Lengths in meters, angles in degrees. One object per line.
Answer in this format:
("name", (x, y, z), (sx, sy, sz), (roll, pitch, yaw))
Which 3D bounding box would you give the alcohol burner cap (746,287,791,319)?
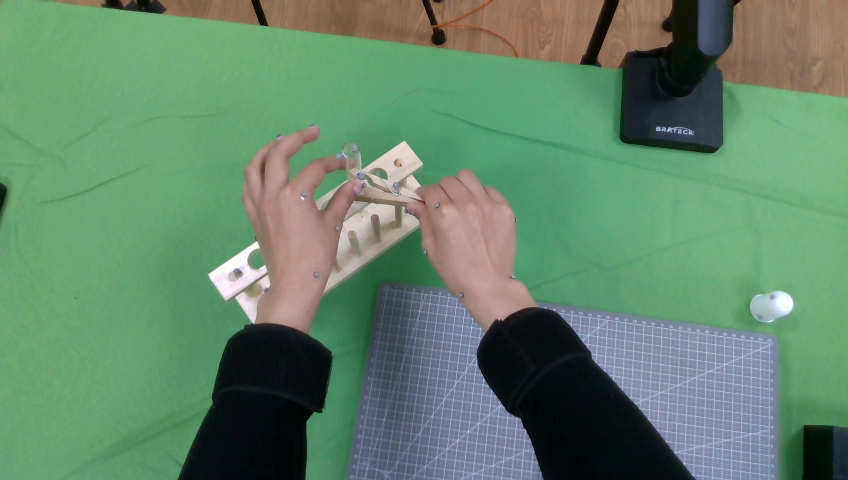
("alcohol burner cap", (0.382, 0.069, 0.669), (0.034, 0.048, 0.033), (0, 75, -1))

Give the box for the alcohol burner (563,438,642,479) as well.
("alcohol burner", (0.176, 0.231, 0.582), (0.078, 0.119, 0.077), (1, 74, -2))

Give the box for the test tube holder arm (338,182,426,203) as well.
("test tube holder arm", (-0.041, -0.046, 0.592), (0.087, 0.015, 0.010), (6, 76, 12))

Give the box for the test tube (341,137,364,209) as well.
("test tube", (-0.069, -0.061, 0.594), (0.017, 0.151, 0.017), (1, 73, -3))

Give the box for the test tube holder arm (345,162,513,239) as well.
("test tube holder arm", (0.002, -0.039, 0.582), (0.177, 0.015, 0.013), (22, 81, 16))

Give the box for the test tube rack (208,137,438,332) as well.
("test tube rack", (-0.100, -0.004, 0.655), (0.242, 0.085, 0.066), (-36, 78, -10))
